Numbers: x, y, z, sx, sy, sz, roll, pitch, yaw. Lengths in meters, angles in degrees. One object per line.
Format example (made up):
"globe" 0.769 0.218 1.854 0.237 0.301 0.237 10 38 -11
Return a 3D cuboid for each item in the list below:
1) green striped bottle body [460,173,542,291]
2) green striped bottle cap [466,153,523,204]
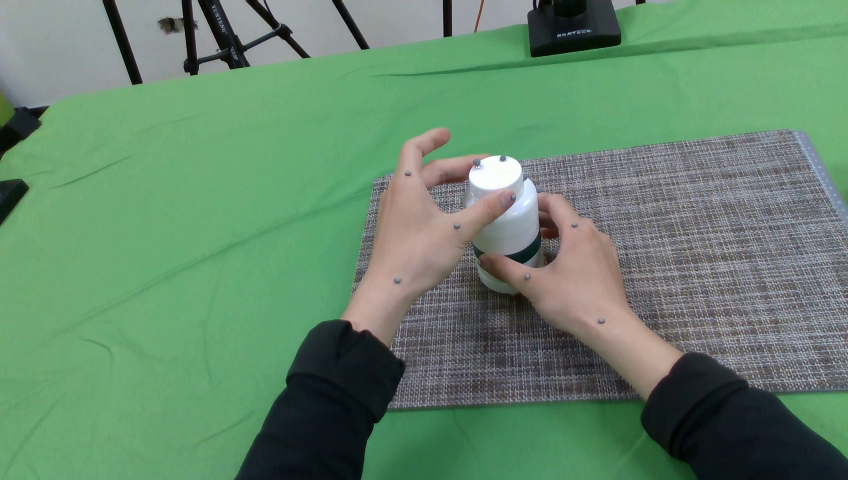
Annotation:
"green striped bottle body" 0.067 -0.015 0.528 0.063 0.120 0.062 -8 45 9
"green striped bottle cap" 0.057 -0.050 0.491 0.044 0.020 0.044 -9 44 10
